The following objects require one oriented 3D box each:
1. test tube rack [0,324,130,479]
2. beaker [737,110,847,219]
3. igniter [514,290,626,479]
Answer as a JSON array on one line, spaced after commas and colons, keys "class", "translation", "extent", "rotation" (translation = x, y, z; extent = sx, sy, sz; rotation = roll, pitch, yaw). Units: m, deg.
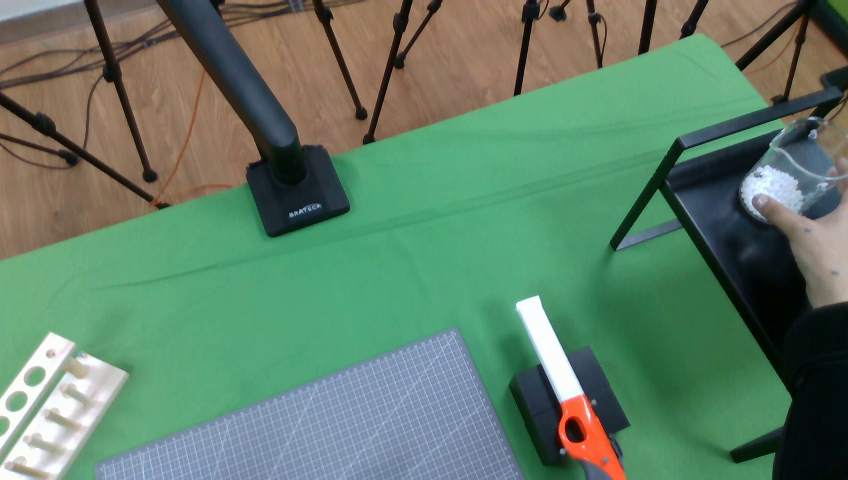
[{"class": "test tube rack", "translation": [-0.435, 0.222, 0.656], "extent": [0.066, 0.086, 0.241], "rotation": [21, 65, 9]}, {"class": "beaker", "translation": [0.376, -0.073, 0.624], "extent": [0.084, 0.101, 0.073], "rotation": [7, 64, 2]}, {"class": "igniter", "translation": [0.167, 0.182, 0.680], "extent": [0.057, 0.025, 0.274], "rotation": [-17, 64, -8]}]
